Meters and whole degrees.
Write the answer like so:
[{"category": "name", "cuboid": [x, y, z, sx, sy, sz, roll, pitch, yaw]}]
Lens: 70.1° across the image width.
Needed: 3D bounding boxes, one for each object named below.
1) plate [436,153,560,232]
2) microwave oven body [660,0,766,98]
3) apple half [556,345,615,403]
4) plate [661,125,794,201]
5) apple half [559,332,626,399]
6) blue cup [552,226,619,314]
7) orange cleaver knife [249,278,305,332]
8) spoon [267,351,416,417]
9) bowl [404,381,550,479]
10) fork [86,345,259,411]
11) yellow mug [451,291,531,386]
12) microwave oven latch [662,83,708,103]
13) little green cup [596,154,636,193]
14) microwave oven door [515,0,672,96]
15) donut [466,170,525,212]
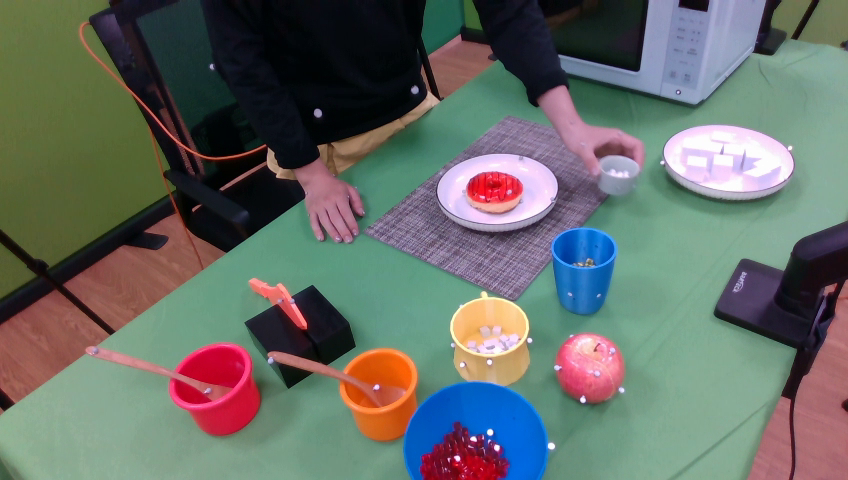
[{"category": "plate", "cuboid": [0.125, -0.078, 1.029, 0.209, 0.038, 0.208, -4, 40, 4]}, {"category": "microwave oven body", "cuboid": [0.473, -0.513, 1.317, 0.438, 0.261, 0.327, 26, 51, 34]}, {"category": "apple half", "cuboid": [0.181, 0.166, 0.709, 0.080, 0.081, 0.033, 30, 51, 35]}, {"category": "plate", "cuboid": [0.513, -0.128, 1.035, 0.207, 0.039, 0.206, -4, 40, 4]}, {"category": "apple half", "cuboid": [0.209, 0.147, 0.730, 0.080, 0.075, 0.053, 26, 48, 38]}, {"category": "blue cup", "cuboid": [0.218, 0.047, 0.825, 0.092, 0.101, 0.092, -6, 39, 5]}, {"category": "orange cleaver knife", "cuboid": [-0.210, 0.089, 0.855, 0.012, 0.077, 0.210, -28, 15, -25]}, {"category": "spoon", "cuboid": [-0.091, 0.163, 0.699, 0.021, 0.195, 0.041, -43, 31, 28]}, {"category": "bowl", "cuboid": [0.058, 0.235, 0.645, 0.151, 0.077, 0.150, -4, 39, 4]}, {"category": "fork", "cuboid": [-0.298, 0.166, 0.728, 0.209, 0.018, 0.028, 28, 46, -23]}, {"category": "yellow mug", "cuboid": [0.086, 0.120, 0.786, 0.100, 0.064, 0.130, -7, 39, 2]}, {"category": "microwave oven latch", "cuboid": [0.518, -0.296, 1.204, 0.078, 0.029, 0.030, 28, 52, 35]}, {"category": "little green cup", "cuboid": [0.301, -0.104, 0.956, 0.061, 0.039, 0.061, 0, 40, 0]}, {"category": "microwave oven door", "cuboid": [0.344, -0.455, 1.260, 0.353, 0.245, 0.039, 26, 51, 33]}, {"category": "donut", "cuboid": [0.121, -0.083, 1.019, 0.099, 0.048, 0.098, -4, 39, 4]}]
